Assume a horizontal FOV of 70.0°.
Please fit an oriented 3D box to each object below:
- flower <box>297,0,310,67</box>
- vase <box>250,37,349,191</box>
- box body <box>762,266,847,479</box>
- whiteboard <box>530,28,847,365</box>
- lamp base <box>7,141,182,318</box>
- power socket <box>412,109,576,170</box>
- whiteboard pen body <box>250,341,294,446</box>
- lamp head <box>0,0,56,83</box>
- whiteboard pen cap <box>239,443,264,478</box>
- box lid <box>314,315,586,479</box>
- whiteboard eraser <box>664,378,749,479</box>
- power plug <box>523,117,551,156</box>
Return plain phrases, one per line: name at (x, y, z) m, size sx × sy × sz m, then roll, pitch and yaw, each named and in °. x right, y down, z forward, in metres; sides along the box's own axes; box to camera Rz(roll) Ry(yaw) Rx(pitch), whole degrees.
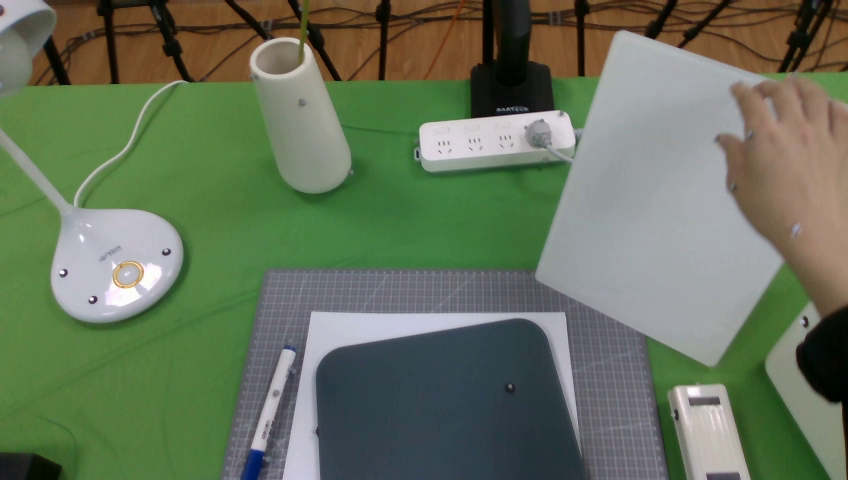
flower at (-0.140, -0.188, 0.680) m, size 0.044 × 0.363 × 0.038 m, roll -37°, pitch 79°, yaw -28°
vase at (-0.155, -0.151, 0.754) m, size 0.098 × 0.202 × 0.097 m, roll -2°, pitch 57°, yaw 4°
box body at (0.511, 0.187, 0.520) m, size 0.254 × 0.162 × 0.360 m, roll -15°, pitch 58°, yaw -7°
whiteboard at (0.276, -0.058, 0.643) m, size 0.216 × 0.308 × 0.143 m, roll 28°, pitch 42°, yaw 20°
lamp base at (-0.398, -0.023, 0.697) m, size 0.178 × 0.182 × 0.160 m, roll 29°, pitch 63°, yaw 23°
power socket at (0.097, -0.138, 0.831) m, size 0.227 × 0.033 × 0.071 m, roll -4°, pitch 58°, yaw 0°
whiteboard pen body at (-0.165, 0.175, 0.646) m, size 0.017 × 0.017 × 0.139 m, roll 7°, pitch 60°, yaw 9°
lamp head at (-0.364, -0.176, 0.449) m, size 0.123 × 0.112 × 0.112 m, roll 41°, pitch 61°, yaw -17°
whiteboard pen cap at (-0.175, 0.225, 0.618) m, size 0.018 × 0.018 × 0.033 m, roll 7°, pitch 60°, yaw 8°
box lid at (0.030, 0.252, 0.595) m, size 0.263 × 0.015 × 0.367 m, roll -9°, pitch 58°, yaw -3°
whiteboard eraser at (0.278, 0.195, 0.600) m, size 0.055 × 0.042 × 0.111 m, roll -2°, pitch 57°, yaw 1°
power plug at (0.148, -0.129, 0.796) m, size 0.035 × 0.053 × 0.072 m, roll 4°, pitch 64°, yaw 6°
